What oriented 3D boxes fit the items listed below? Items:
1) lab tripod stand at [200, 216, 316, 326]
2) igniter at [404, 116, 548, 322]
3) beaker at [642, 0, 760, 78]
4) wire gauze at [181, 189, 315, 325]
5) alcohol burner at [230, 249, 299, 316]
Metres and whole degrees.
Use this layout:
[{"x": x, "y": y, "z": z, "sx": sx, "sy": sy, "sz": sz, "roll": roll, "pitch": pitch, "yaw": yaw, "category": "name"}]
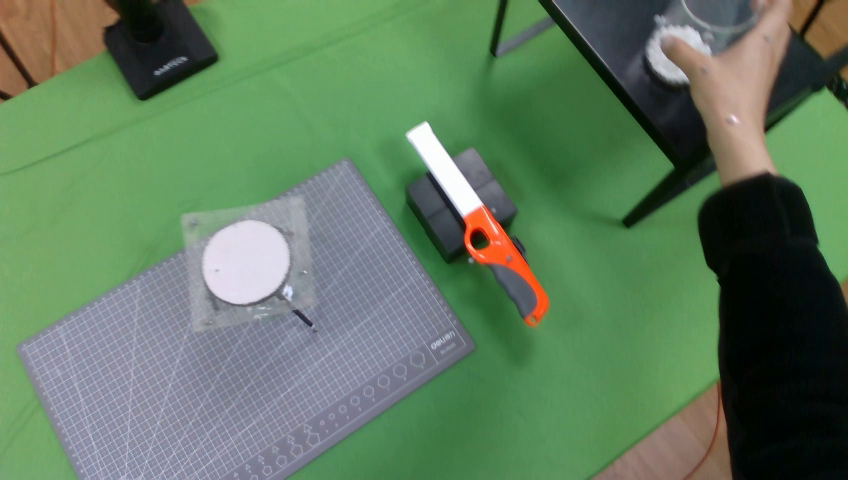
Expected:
[{"x": -0.181, "y": 0.032, "z": 0.670, "sx": 0.148, "sy": 0.132, "sz": 0.147, "roll": 0, "pitch": 72, "yaw": 0, "category": "lab tripod stand"}, {"x": 0.061, "y": -0.028, "z": 0.706, "sx": 0.057, "sy": 0.025, "sz": 0.275, "roll": -32, "pitch": 77, "yaw": -4, "category": "igniter"}, {"x": 0.260, "y": -0.212, "z": 0.588, "sx": 0.084, "sy": 0.101, "sz": 0.073, "roll": 23, "pitch": 74, "yaw": 6, "category": "beaker"}, {"x": -0.176, "y": 0.014, "z": 0.606, "sx": 0.121, "sy": 0.011, "sz": 0.124, "roll": -10, "pitch": 74, "yaw": -5, "category": "wire gauze"}, {"x": -0.182, "y": 0.044, "z": 0.677, "sx": 0.078, "sy": 0.119, "sz": 0.077, "roll": 1, "pitch": 76, "yaw": -2, "category": "alcohol burner"}]
